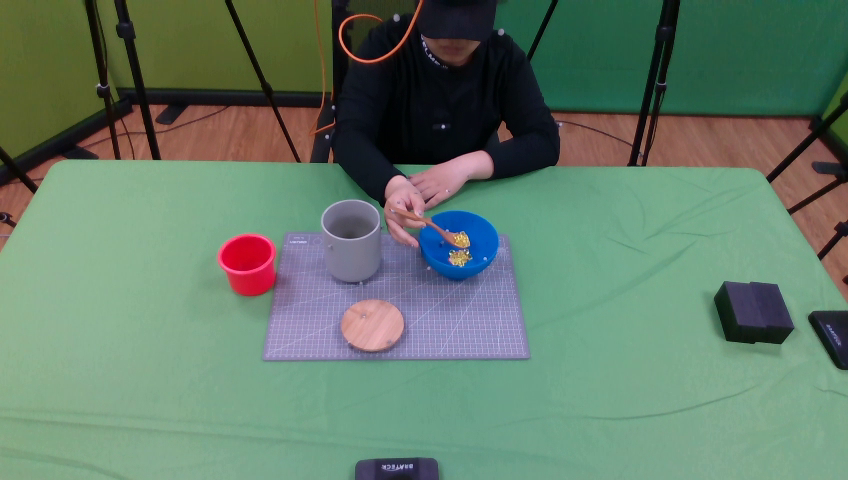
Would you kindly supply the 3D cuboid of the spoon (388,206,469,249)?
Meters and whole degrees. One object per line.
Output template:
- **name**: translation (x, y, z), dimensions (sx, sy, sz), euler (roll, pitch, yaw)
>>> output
- **spoon**: translation (0.011, -0.024, 1.078), dimensions (0.195, 0.021, 0.041), euler (28, 27, -40)

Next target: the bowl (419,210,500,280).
- **bowl**: translation (0.062, 0.022, 1.140), dimensions (0.151, 0.077, 0.150), euler (2, 46, -2)

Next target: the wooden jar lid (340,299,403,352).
- **wooden jar lid**: translation (-0.090, 0.150, 1.046), dimensions (0.108, 0.021, 0.107), euler (3, 47, -3)

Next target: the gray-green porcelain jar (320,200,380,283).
- **gray-green porcelain jar**: translation (-0.132, 0.007, 1.106), dimensions (0.106, 0.127, 0.105), euler (2, 46, -2)
